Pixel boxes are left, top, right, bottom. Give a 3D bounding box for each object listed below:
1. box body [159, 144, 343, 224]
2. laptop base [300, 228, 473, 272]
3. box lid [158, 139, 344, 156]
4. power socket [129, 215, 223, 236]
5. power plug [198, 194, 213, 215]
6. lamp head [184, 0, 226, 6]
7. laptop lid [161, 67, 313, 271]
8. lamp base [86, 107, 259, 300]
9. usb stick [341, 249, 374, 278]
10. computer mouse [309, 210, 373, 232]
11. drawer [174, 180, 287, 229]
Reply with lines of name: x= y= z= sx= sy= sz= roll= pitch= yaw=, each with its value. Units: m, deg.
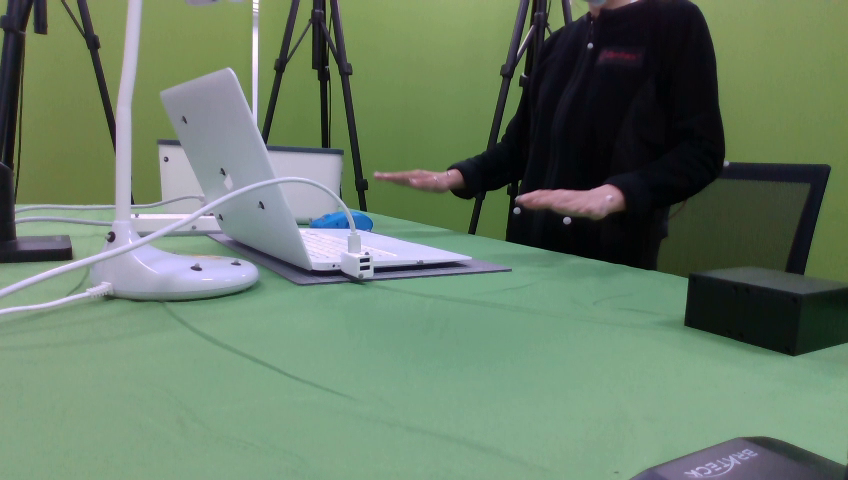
box body: x=-0.364 y=-0.128 z=1.337 sx=0.365 sy=0.160 sz=0.253 roll=1 pitch=7 yaw=-8
laptop base: x=-0.124 y=0.011 z=0.889 sx=0.237 sy=0.023 sz=0.352 roll=2 pitch=7 yaw=-35
box lid: x=-0.363 y=-0.201 z=1.328 sx=0.372 sy=0.015 sz=0.262 roll=2 pitch=7 yaw=-8
power socket: x=-0.397 y=-0.028 z=1.048 sx=0.228 sy=0.032 sz=0.072 roll=-3 pitch=7 yaw=-35
power plug: x=-0.386 y=-0.055 z=1.088 sx=0.035 sy=0.052 sz=0.072 roll=-2 pitch=7 yaw=-24
lamp head: x=-0.229 y=-0.320 z=0.627 sx=0.112 sy=0.112 sz=0.123 roll=6 pitch=-36 yaw=26
laptop lid: x=-0.255 y=-0.090 z=0.782 sx=0.013 sy=0.242 sz=0.355 roll=-29 pitch=24 yaw=-28
lamp base: x=-0.255 y=-0.039 z=0.603 sx=0.160 sy=0.180 sz=0.179 roll=4 pitch=10 yaw=18
usb stick: x=-0.079 y=0.026 z=0.687 sx=0.021 sy=0.027 sz=0.059 roll=-7 pitch=9 yaw=-30
computer mouse: x=-0.157 y=-0.034 z=1.139 sx=0.118 sy=0.041 sz=0.062 roll=-6 pitch=12 yaw=-28
drawer: x=-0.413 y=-0.080 z=1.325 sx=0.212 sy=0.073 sz=0.194 roll=-8 pitch=11 yaw=-8
